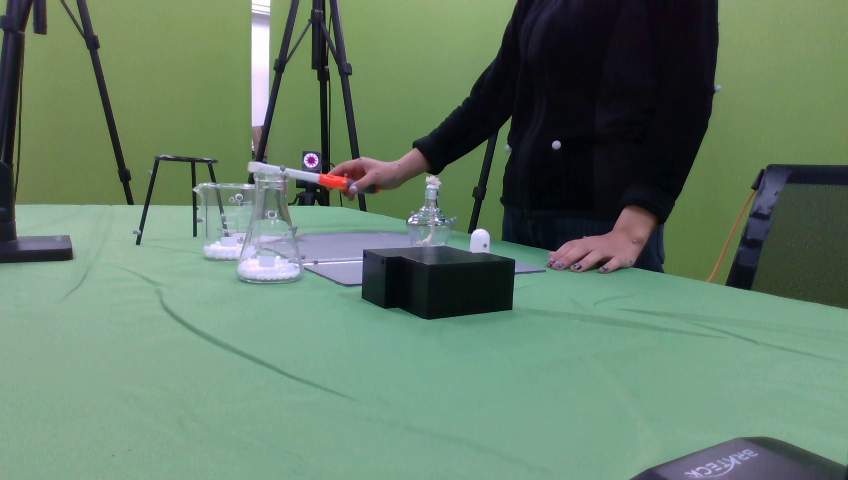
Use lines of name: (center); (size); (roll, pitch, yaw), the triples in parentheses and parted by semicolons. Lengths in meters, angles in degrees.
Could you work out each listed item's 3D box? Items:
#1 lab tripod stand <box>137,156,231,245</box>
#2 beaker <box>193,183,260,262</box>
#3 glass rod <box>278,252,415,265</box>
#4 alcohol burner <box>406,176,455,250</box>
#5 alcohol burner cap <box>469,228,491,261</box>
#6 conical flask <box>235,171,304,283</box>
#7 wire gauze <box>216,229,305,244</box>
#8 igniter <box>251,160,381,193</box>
lab tripod stand: (-0.358, -0.062, 0.927); (0.148, 0.131, 0.148); (4, 6, 0)
beaker: (-0.262, -0.025, 0.806); (0.084, 0.100, 0.073); (-3, 9, -30)
glass rod: (-0.097, 0.024, 0.805); (0.201, 0.008, 0.008); (-3, 8, -33)
alcohol burner: (0.012, -0.044, 0.963); (0.078, 0.119, 0.078); (4, 6, 0)
alcohol burner cap: (0.082, 0.006, 0.878); (0.034, 0.048, 0.034); (3, 7, 0)
conical flask: (-0.172, -0.016, 0.677); (0.075, 0.122, 0.075); (2, 7, 0)
wire gauze: (-0.273, -0.009, 1.012); (0.122, 0.011, 0.124); (-2, 9, -33)
igniter: (-0.195, -0.118, 1.146); (0.057, 0.025, 0.278); (14, 5, 44)
